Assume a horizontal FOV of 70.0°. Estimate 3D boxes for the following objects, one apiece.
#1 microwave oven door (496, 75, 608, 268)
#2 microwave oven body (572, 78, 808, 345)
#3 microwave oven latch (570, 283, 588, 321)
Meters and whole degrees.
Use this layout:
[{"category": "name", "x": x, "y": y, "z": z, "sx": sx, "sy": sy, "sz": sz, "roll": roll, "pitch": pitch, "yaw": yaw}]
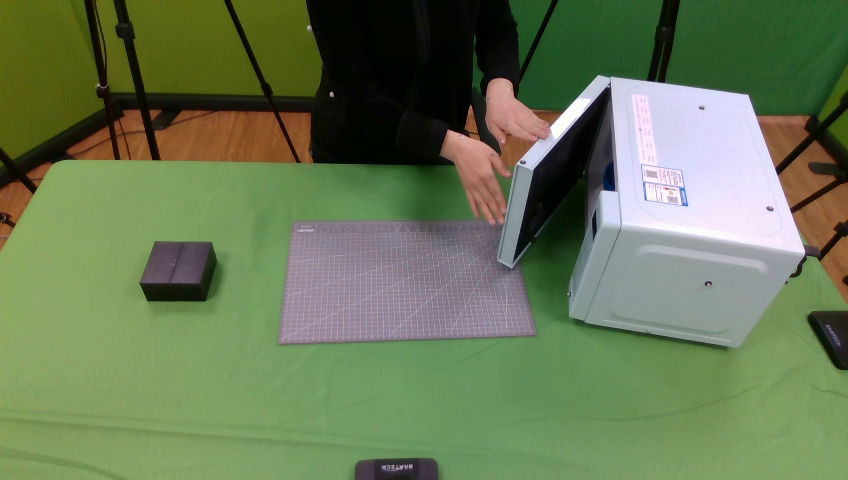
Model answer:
[{"category": "microwave oven door", "x": 0.254, "y": -0.140, "z": 1.176, "sx": 0.039, "sy": 0.245, "sz": 0.355, "roll": 27, "pitch": 50, "yaw": 21}, {"category": "microwave oven body", "x": 0.455, "y": -0.063, "z": 1.124, "sx": 0.326, "sy": 0.261, "sz": 0.439, "roll": 8, "pitch": 45, "yaw": 5}, {"category": "microwave oven latch", "x": 0.276, "y": 0.105, "z": 1.082, "sx": 0.030, "sy": 0.029, "sz": 0.079, "roll": 10, "pitch": 45, "yaw": 7}]
